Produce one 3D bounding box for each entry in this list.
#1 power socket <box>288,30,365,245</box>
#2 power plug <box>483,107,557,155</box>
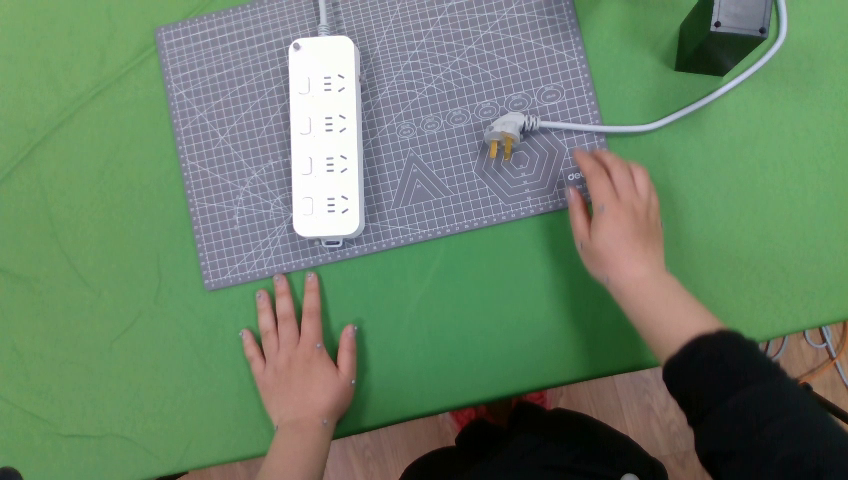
[{"bbox_3d":[-0.102,-0.109,0.636,0.072,0.032,0.226,-3,87,4],"label":"power socket"},{"bbox_3d":[0.096,-0.110,0.613,0.072,0.035,0.052,2,69,16],"label":"power plug"}]
